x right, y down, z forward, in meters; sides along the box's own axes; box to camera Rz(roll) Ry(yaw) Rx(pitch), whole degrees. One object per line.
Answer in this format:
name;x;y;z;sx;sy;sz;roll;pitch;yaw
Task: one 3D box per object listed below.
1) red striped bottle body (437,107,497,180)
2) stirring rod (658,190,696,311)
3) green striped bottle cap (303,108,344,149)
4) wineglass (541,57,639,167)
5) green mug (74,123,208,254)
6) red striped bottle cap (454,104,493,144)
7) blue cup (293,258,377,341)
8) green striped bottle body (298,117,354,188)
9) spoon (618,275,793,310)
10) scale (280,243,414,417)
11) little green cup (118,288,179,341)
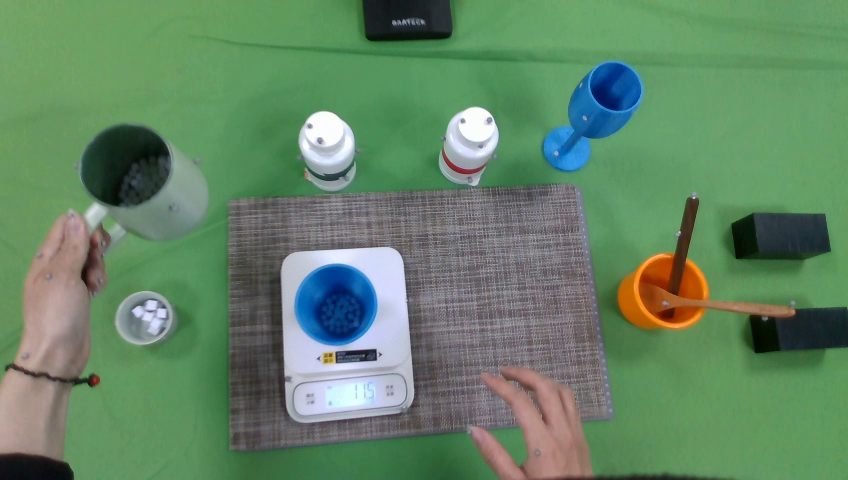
red striped bottle body;0.053;-0.122;0.749;0.063;0.120;0.062;1;76;-5
stirring rod;0.302;0.018;0.726;0.014;0.177;0.006;2;36;8
green striped bottle cap;-0.112;-0.125;0.675;0.044;0.020;0.044;1;76;-5
wineglass;0.198;-0.151;0.742;0.074;0.173;0.073;1;76;-4
green mug;-0.268;-0.039;0.562;0.092;0.105;0.125;36;77;2
red striped bottle cap;0.057;-0.134;0.697;0.044;0.018;0.044;1;74;-4
blue cup;-0.094;0.071;0.664;0.093;0.100;0.092;1;79;-5
green striped bottle body;-0.117;-0.110;0.729;0.063;0.119;0.063;1;76;-5
spoon;0.324;0.068;0.716;0.022;0.192;0.041;18;79;-46
scale;-0.093;0.104;0.723;0.149;0.031;0.200;-4;78;-6
little green cup;-0.317;0.088;0.705;0.061;0.039;0.061;2;76;-6
